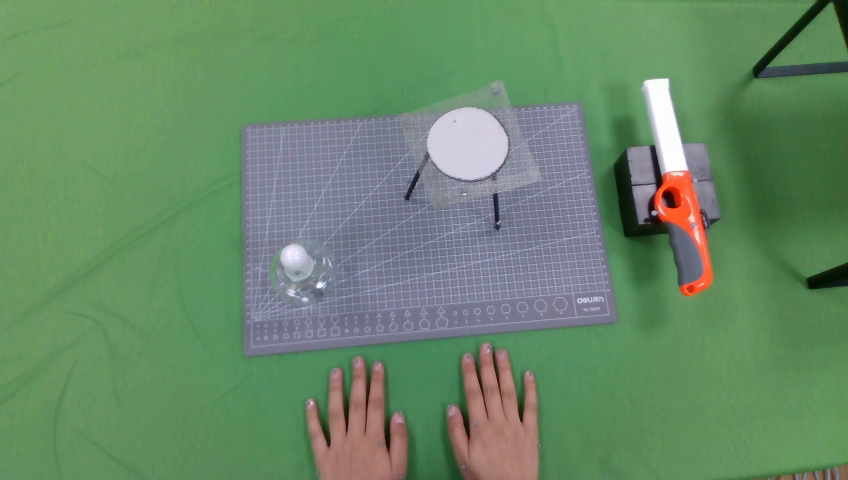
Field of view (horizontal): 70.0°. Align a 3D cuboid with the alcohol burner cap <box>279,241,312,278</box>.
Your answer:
[{"bbox_3d":[-0.140,0.019,0.650,0.034,0.048,0.033,0,70,0],"label":"alcohol burner cap"}]

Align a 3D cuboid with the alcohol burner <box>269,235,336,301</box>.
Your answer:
[{"bbox_3d":[-0.140,0.028,0.685,0.078,0.119,0.077,1,76,-3],"label":"alcohol burner"}]

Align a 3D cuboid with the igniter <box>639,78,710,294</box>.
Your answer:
[{"bbox_3d":[0.299,-0.070,0.725,0.057,0.025,0.274,-4,72,-1],"label":"igniter"}]

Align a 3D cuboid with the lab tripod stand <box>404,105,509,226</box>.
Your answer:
[{"bbox_3d":[0.046,-0.092,0.713,0.148,0.132,0.147,0,73,0],"label":"lab tripod stand"}]

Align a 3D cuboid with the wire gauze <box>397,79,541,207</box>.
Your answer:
[{"bbox_3d":[0.047,-0.104,0.647,0.125,0.011,0.120,-17,76,-6],"label":"wire gauze"}]
